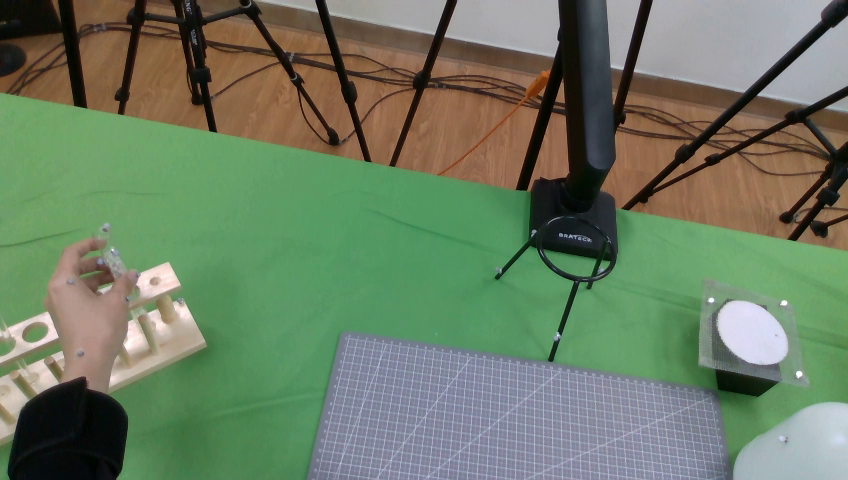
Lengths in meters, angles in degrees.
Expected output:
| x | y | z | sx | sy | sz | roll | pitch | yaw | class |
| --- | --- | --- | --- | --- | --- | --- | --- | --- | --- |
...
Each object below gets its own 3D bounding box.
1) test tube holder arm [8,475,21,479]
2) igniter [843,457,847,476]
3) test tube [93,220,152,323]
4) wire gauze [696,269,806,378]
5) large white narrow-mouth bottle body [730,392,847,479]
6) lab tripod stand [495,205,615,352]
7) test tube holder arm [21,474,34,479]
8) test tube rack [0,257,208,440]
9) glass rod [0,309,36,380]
| x | y | z | sx | sy | sz | roll | pitch | yaw | class |
| --- | --- | --- | --- | --- | --- | --- | --- | --- | --- |
| -0.342 | 0.241 | 0.501 | 0.010 | 0.015 | 0.087 | -3 | 55 | -21 | test tube holder arm |
| 0.453 | 0.350 | 0.594 | 0.057 | 0.025 | 0.274 | 21 | 53 | -6 | igniter |
| -0.300 | 0.037 | 0.608 | 0.017 | 0.151 | 0.017 | 2 | 47 | -2 | test tube |
| 0.382 | 0.097 | 0.717 | 0.121 | 0.011 | 0.124 | 16 | 53 | 3 | wire gauze |
| 0.388 | 0.204 | 0.585 | 0.102 | 0.196 | 0.101 | 4 | 53 | -4 | large white narrow-mouth bottle body |
| 0.160 | 0.038 | 0.711 | 0.149 | 0.132 | 0.147 | 5 | 55 | -6 | lab tripod stand |
| -0.326 | 0.276 | 0.479 | 0.013 | 0.015 | 0.176 | -3 | 55 | -21 | test tube holder arm |
| -0.355 | 0.113 | 0.611 | 0.242 | 0.086 | 0.066 | -26 | 62 | -24 | test tube rack |
| -0.387 | 0.073 | 0.553 | 0.008 | 0.201 | 0.008 | 6 | 45 | -6 | glass rod |
